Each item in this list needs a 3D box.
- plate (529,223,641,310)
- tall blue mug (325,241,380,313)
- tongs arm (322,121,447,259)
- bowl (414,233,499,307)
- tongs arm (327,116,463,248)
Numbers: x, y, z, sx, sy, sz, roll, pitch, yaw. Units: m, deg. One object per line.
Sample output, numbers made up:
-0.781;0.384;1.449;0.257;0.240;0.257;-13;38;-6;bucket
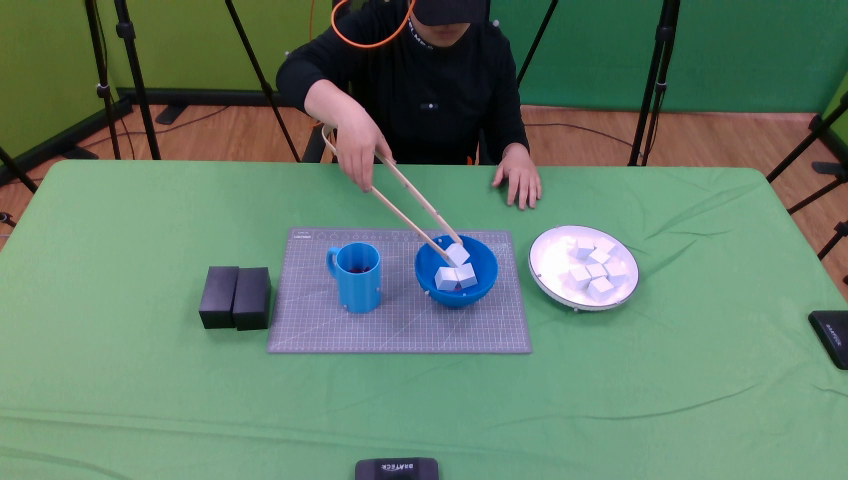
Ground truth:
0.303;0.053;1.156;0.209;0.038;0.208;2;46;-1;plate
-0.130;0.063;1.062;0.107;0.108;0.077;9;47;5;tall blue mug
-0.081;-0.097;1.113;0.028;0.028;0.385;-39;64;-10;tongs arm
0.056;0.067;1.093;0.151;0.077;0.150;2;46;-2;bowl
-0.063;-0.112;1.119;0.051;0.026;0.382;-34;63;-11;tongs arm
